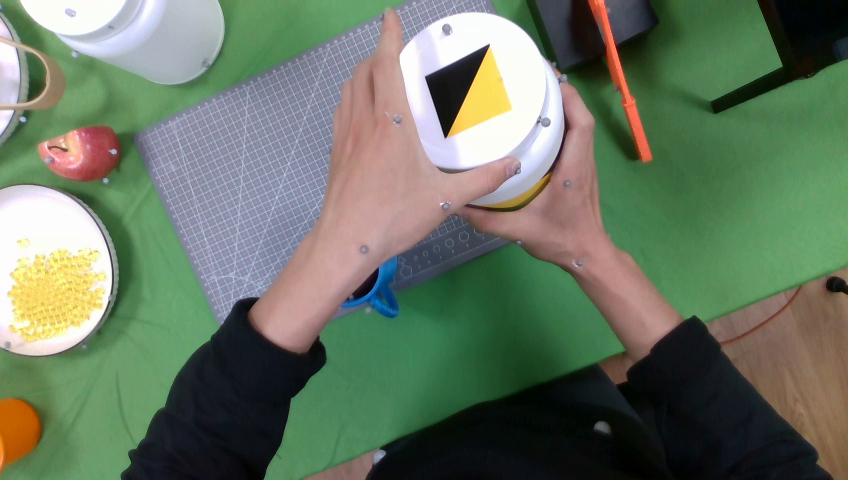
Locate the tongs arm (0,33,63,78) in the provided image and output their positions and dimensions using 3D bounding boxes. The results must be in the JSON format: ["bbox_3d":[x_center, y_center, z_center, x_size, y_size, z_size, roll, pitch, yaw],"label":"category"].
[{"bbox_3d":[-0.590,-0.259,0.692,0.387,0.028,0.028,19,89,5],"label":"tongs arm"}]

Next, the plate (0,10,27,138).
[{"bbox_3d":[-0.570,-0.201,0.725,0.207,0.039,0.208,0,95,4],"label":"plate"}]

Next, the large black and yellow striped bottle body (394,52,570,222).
[{"bbox_3d":[0.051,-0.092,0.510,0.130,0.185,0.130,-2,81,16],"label":"large black and yellow striped bottle body"}]

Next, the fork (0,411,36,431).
[{"bbox_3d":[-0.572,0.237,0.701,0.208,0.018,0.028,-8,93,-38],"label":"fork"}]

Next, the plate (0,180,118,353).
[{"bbox_3d":[-0.467,0.031,0.734,0.209,0.038,0.209,0,95,5],"label":"plate"}]

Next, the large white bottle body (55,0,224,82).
[{"bbox_3d":[-0.306,-0.247,0.628,0.130,0.184,0.130,0,93,5],"label":"large white bottle body"}]

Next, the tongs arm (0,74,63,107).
[{"bbox_3d":[-0.604,-0.176,0.698,0.384,0.026,0.051,5,91,6],"label":"tongs arm"}]

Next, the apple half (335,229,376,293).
[{"bbox_3d":[-0.068,0.024,0.662,0.032,0.081,0.081,9,95,12],"label":"apple half"}]

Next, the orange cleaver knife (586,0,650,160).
[{"bbox_3d":[0.202,-0.184,0.645,0.012,0.076,0.213,-21,118,14],"label":"orange cleaver knife"}]

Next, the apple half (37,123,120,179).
[{"bbox_3d":[-0.392,-0.098,0.702,0.081,0.074,0.053,-19,96,2],"label":"apple half"}]

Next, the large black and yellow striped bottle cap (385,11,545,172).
[{"bbox_3d":[0.028,-0.105,0.431,0.114,0.019,0.114,-2,83,15],"label":"large black and yellow striped bottle cap"}]

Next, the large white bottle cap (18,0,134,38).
[{"bbox_3d":[-0.314,-0.242,0.544,0.115,0.018,0.115,0,94,5],"label":"large white bottle cap"}]

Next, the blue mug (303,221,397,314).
[{"bbox_3d":[-0.069,0.034,0.668,0.082,0.106,0.116,-39,91,6],"label":"blue mug"}]

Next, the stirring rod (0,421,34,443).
[{"bbox_3d":[-0.556,0.252,0.704,0.177,0.006,0.014,-17,81,-35],"label":"stirring rod"}]
